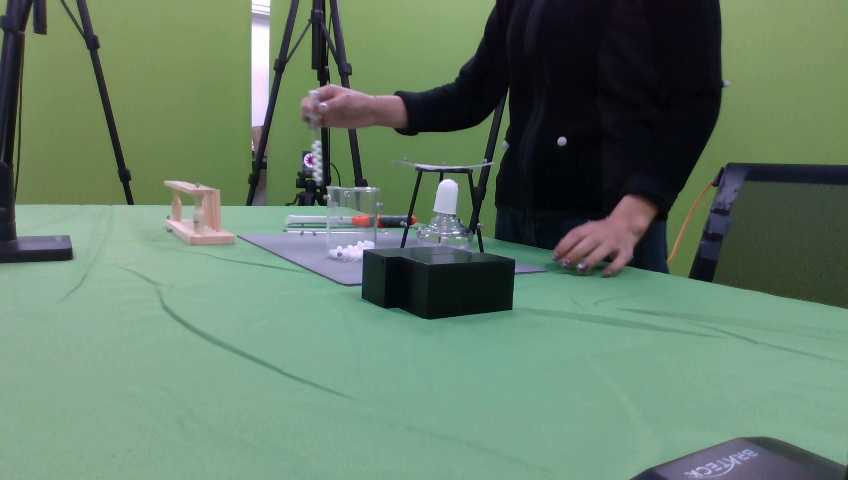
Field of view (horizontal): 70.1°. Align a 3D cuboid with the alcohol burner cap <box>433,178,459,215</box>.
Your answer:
[{"bbox_3d":[0.031,-0.060,0.806,0.034,0.048,0.034,9,10,-1],"label":"alcohol burner cap"}]

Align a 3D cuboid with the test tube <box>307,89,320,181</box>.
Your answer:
[{"bbox_3d":[-0.183,-0.174,1.003,0.017,0.150,0.017,-1,7,0],"label":"test tube"}]

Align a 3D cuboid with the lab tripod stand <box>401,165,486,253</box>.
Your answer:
[{"bbox_3d":[0.028,-0.049,0.930,0.148,0.131,0.148,3,9,0],"label":"lab tripod stand"}]

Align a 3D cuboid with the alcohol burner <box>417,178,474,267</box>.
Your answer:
[{"bbox_3d":[0.029,-0.024,0.810,0.078,0.119,0.078,1,9,0],"label":"alcohol burner"}]

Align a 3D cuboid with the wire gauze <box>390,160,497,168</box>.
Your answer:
[{"bbox_3d":[0.028,-0.115,0.919,0.122,0.011,0.124,-4,10,-34],"label":"wire gauze"}]

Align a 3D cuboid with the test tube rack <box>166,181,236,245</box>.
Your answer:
[{"bbox_3d":[-0.383,-0.051,1.024,0.067,0.085,0.241,-2,9,-31],"label":"test tube rack"}]

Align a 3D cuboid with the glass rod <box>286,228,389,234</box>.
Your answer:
[{"bbox_3d":[-0.154,-0.016,1.101,0.201,0.008,0.008,1,6,-31],"label":"glass rod"}]

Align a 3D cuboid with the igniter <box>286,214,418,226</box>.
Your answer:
[{"bbox_3d":[-0.146,-0.043,1.263,0.278,0.025,0.057,-1,-2,-24],"label":"igniter"}]

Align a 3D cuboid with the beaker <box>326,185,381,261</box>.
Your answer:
[{"bbox_3d":[-0.100,-0.025,0.835,0.074,0.100,0.083,0,7,-23],"label":"beaker"}]
